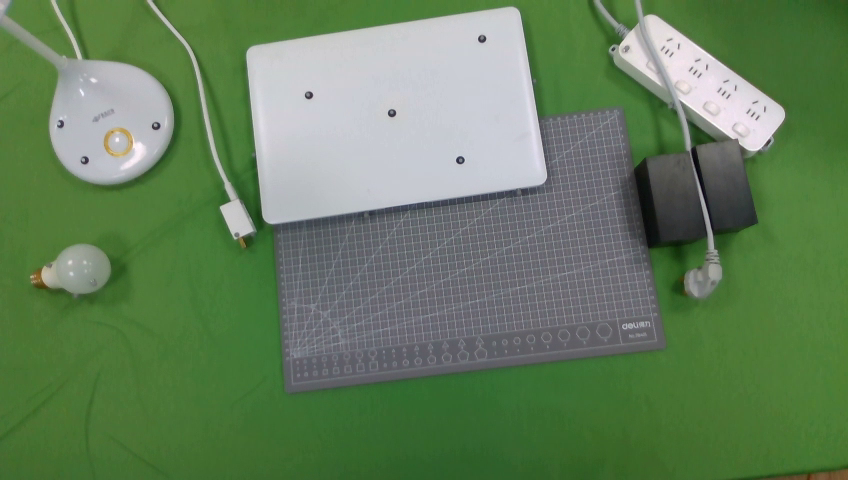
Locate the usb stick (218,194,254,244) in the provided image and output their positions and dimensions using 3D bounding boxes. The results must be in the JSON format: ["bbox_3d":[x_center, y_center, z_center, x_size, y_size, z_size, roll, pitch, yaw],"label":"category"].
[{"bbox_3d":[-0.228,-0.025,0.744,0.027,0.021,0.059,-22,90,-3],"label":"usb stick"}]

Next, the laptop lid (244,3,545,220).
[{"bbox_3d":[-0.041,-0.161,0.750,0.357,0.013,0.241,-7,82,2],"label":"laptop lid"}]

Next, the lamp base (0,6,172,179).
[{"bbox_3d":[-0.413,-0.178,0.699,0.160,0.181,0.178,-38,78,-4],"label":"lamp base"}]

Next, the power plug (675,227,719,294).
[{"bbox_3d":[0.316,0.027,0.700,0.035,0.052,0.072,21,74,-20],"label":"power plug"}]

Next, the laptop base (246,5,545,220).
[{"bbox_3d":[-0.041,-0.162,0.762,0.354,0.023,0.234,-8,83,1],"label":"laptop base"}]

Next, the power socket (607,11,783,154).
[{"bbox_3d":[0.331,-0.193,0.741,0.226,0.033,0.072,40,84,9],"label":"power socket"}]

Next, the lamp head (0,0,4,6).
[{"bbox_3d":[-0.376,-0.203,0.427,0.112,0.124,0.111,-19,57,32],"label":"lamp head"}]

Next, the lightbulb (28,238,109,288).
[{"bbox_3d":[-0.434,0.032,0.733,0.107,0.060,0.059,-11,80,16],"label":"lightbulb"}]
